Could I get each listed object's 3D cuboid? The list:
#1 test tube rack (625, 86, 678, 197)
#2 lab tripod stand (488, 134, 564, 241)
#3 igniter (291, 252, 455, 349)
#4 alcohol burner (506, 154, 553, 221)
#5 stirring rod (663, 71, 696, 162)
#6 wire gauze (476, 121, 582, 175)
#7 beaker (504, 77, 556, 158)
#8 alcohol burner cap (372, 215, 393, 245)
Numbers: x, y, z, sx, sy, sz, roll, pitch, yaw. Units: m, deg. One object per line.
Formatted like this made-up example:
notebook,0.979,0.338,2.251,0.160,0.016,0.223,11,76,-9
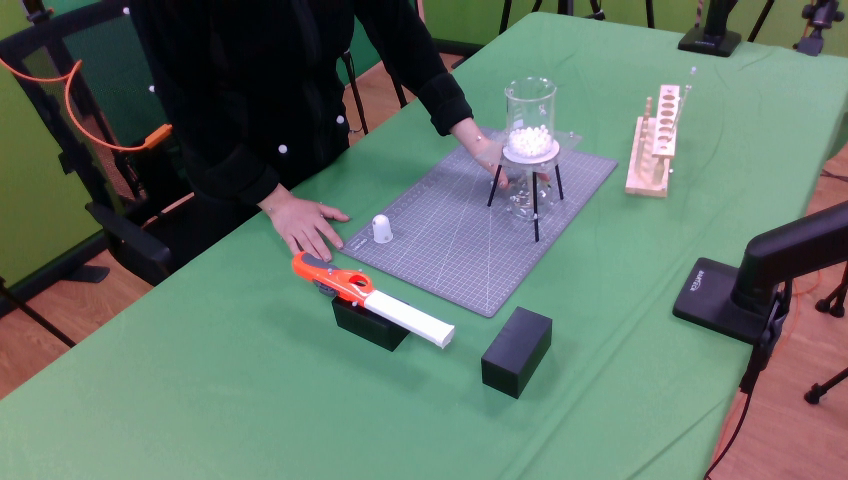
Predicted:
test tube rack,0.412,-0.184,1.088,0.066,0.085,0.242,9,43,18
lab tripod stand,0.168,-0.092,0.972,0.148,0.132,0.147,-5,41,5
igniter,-0.080,0.076,0.822,0.274,0.025,0.057,23,46,27
alcohol burner,0.171,-0.090,0.984,0.078,0.119,0.077,-5,42,5
stirring rod,0.410,-0.196,0.981,0.014,0.177,0.006,11,50,13
wire gauze,0.162,-0.141,0.929,0.120,0.011,0.125,19,49,32
beaker,0.160,-0.181,0.900,0.084,0.101,0.073,-32,46,-27
alcohol burner cap,-0.070,-0.019,0.990,0.034,0.048,0.033,-4,41,4
